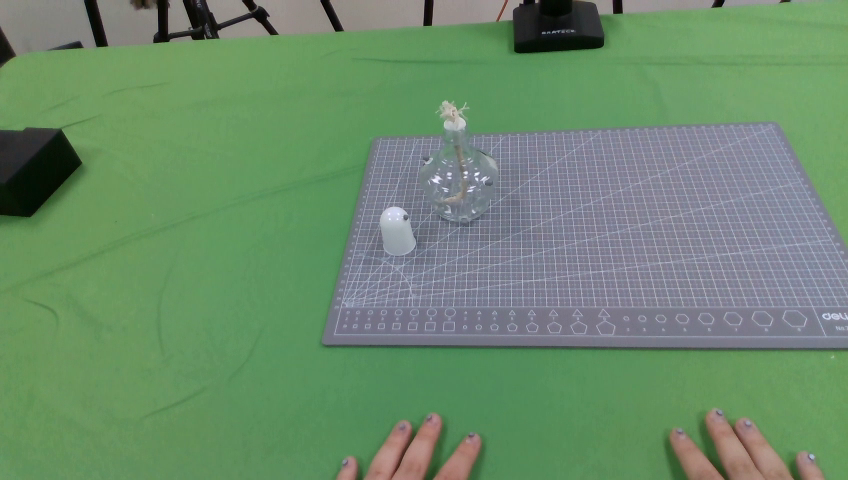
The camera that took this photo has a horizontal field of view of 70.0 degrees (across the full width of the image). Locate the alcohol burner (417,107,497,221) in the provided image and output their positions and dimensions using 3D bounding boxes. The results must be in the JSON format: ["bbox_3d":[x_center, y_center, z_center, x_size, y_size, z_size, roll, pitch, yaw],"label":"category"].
[{"bbox_3d":[0.030,-0.076,0.577,0.078,0.120,0.077,-3,46,3],"label":"alcohol burner"}]

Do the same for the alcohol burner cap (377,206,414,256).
[{"bbox_3d":[-0.028,-0.011,0.571,0.034,0.048,0.033,-4,46,4],"label":"alcohol burner cap"}]
